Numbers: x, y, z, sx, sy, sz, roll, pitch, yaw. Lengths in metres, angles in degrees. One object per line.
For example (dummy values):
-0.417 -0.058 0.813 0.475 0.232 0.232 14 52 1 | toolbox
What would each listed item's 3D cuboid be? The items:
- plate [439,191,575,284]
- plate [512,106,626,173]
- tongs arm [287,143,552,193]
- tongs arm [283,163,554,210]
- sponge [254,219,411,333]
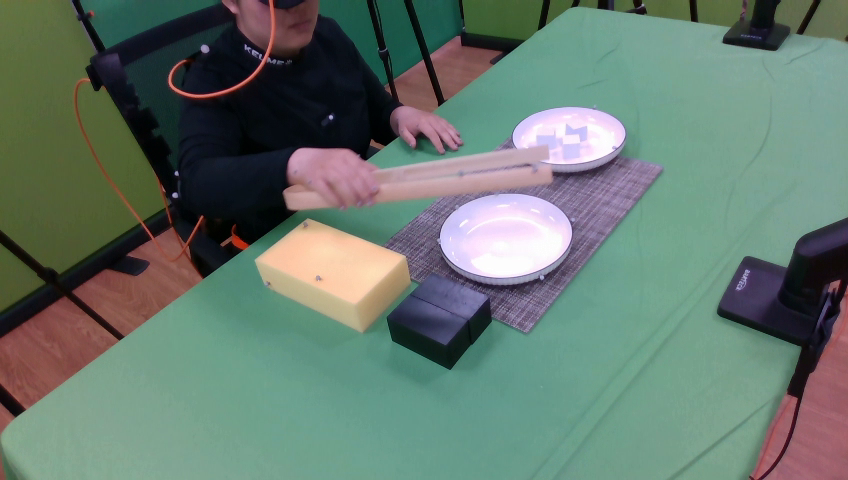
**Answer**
0.129 -0.002 0.942 0.207 0.039 0.206 -5 40 5 | plate
0.269 -0.185 1.132 0.209 0.038 0.208 -5 40 5 | plate
-0.009 -0.098 0.882 0.387 0.028 0.028 -9 26 5 | tongs arm
-0.019 -0.074 0.823 0.384 0.026 0.050 -6 23 13 | tongs arm
-0.139 0.049 0.922 0.205 0.061 0.118 19 47 30 | sponge
